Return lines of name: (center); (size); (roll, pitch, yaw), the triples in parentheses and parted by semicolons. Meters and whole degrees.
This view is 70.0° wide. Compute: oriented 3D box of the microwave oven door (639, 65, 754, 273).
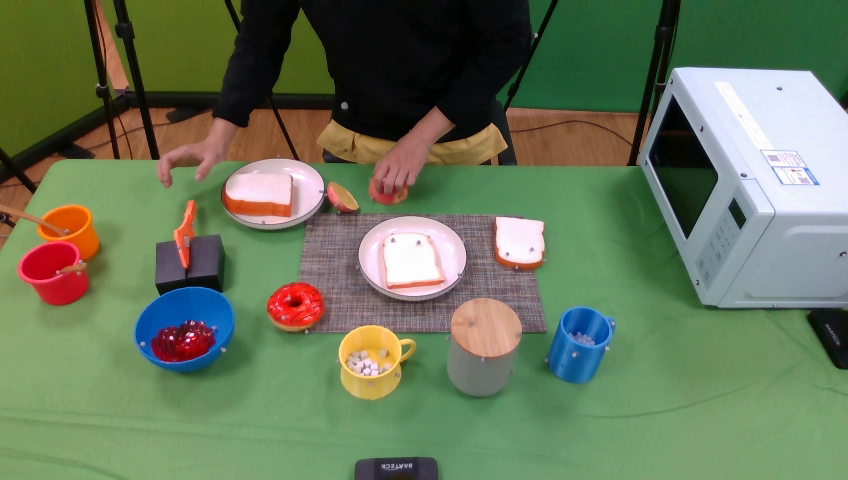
microwave oven door: (0.522, -0.147, 1.192); (0.039, 0.245, 0.353); (0, 47, -3)

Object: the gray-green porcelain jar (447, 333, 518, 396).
gray-green porcelain jar: (0.091, 0.178, 0.960); (0.106, 0.127, 0.105); (2, 46, -2)

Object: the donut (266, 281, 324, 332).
donut: (-0.222, 0.115, 1.049); (0.099, 0.048, 0.098); (2, 45, -2)

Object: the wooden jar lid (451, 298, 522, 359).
wooden jar lid: (0.093, 0.135, 0.914); (0.108, 0.021, 0.107); (2, 48, -3)

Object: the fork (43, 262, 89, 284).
fork: (-0.599, 0.053, 1.014); (0.207, 0.019, 0.028); (-14, 30, 45)

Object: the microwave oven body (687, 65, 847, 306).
microwave oven body: (0.669, -0.112, 1.176); (0.326, 0.261, 0.439); (0, 46, -3)

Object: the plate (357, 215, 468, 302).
plate: (-0.022, 0.037, 1.141); (0.208, 0.039, 0.206); (2, 46, -2)

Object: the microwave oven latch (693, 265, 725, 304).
microwave oven latch: (0.522, 0.081, 1.115); (0.030, 0.029, 0.078); (3, 46, -1)

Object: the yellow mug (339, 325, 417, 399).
yellow mug: (-0.072, 0.190, 0.978); (0.131, 0.064, 0.099); (-17, 50, -20)

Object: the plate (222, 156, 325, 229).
plate: (-0.308, -0.095, 1.251); (0.209, 0.038, 0.208); (3, 46, -3)

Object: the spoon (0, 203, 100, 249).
spoon: (-0.683, -0.031, 1.088); (0.195, 0.021, 0.041); (33, 33, -38)

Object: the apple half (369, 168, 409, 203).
apple half: (-0.073, -0.122, 1.285); (0.081, 0.053, 0.074); (-27, 54, -27)

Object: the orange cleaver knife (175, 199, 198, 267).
orange cleaver knife: (-0.438, -0.017, 1.138); (0.012, 0.077, 0.210); (-14, 27, -7)

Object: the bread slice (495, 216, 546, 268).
bread slice: (0.194, 0.002, 1.205); (0.105, 0.019, 0.131); (5, 45, 2)

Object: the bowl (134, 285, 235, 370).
bowl: (-0.377, 0.155, 0.981); (0.151, 0.077, 0.150); (2, 46, -2)

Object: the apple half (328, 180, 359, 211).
apple half: (-0.171, -0.083, 1.247); (0.033, 0.082, 0.080); (-39, 50, 14)

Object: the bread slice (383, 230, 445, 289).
bread slice: (-0.028, 0.035, 1.145); (0.107, 0.018, 0.133); (-7, 48, -11)

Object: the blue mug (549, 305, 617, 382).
blue mug: (0.269, 0.166, 0.998); (0.116, 0.106, 0.082); (-19, 51, -21)
